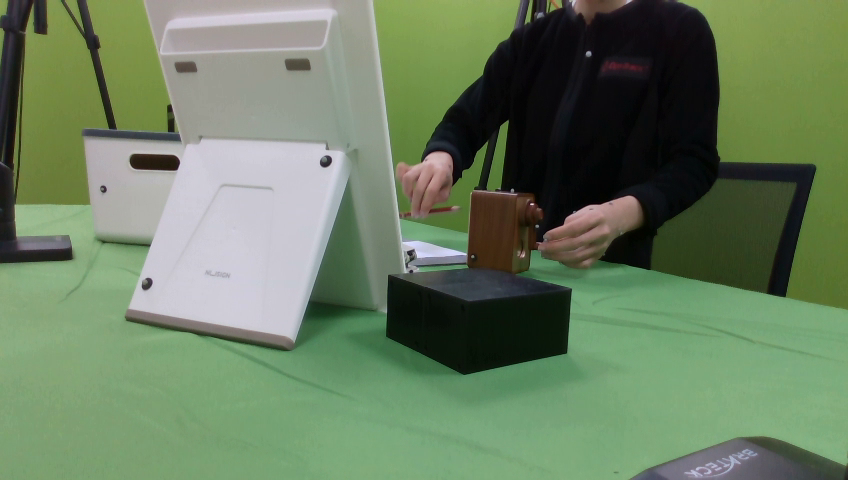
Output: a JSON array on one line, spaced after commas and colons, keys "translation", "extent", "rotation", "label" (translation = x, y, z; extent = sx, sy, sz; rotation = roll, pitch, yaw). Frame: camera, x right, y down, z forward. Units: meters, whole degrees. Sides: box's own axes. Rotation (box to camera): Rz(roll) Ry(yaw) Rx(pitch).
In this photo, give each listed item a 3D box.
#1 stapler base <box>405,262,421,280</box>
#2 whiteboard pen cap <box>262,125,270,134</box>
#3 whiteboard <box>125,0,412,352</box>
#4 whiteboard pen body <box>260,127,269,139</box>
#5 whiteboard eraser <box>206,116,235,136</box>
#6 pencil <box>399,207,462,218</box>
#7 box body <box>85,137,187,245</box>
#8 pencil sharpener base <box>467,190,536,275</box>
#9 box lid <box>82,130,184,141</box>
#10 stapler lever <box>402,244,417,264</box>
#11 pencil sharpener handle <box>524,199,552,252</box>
[{"translation": [-0.069, 0.027, 0.759], "extent": [0.130, 0.024, 0.041], "rotation": [9, 14, 23], "label": "stapler base"}, {"translation": [-0.349, -0.244, 1.336], "extent": [0.018, 0.018, 0.033], "rotation": [0, 2, -17], "label": "whiteboard pen cap"}, {"translation": [-0.151, -0.049, 0.472], "extent": [0.216, 0.305, 0.144], "rotation": [6, 27, 24], "label": "whiteboard"}, {"translation": [-0.366, -0.247, 1.392], "extent": [0.017, 0.017, 0.140], "rotation": [0, 3, -17], "label": "whiteboard pen body"}, {"translation": [-0.450, -0.252, 1.335], "extent": [0.056, 0.042, 0.112], "rotation": [1, 7, -22], "label": "whiteboard eraser"}, {"translation": [-0.007, -0.039, 0.900], "extent": [0.012, 0.012, 0.193], "rotation": [-4, 0, -39], "label": "pencil"}, {"translation": [-0.340, -0.088, 1.022], "extent": [0.254, 0.160, 0.364], "rotation": [4, 7, 11], "label": "box body"}, {"translation": [0.106, -0.011, 0.808], "extent": [0.076, 0.107, 0.061], "rotation": [8, 8, 33], "label": "pencil sharpener base"}, {"translation": [-0.337, -0.161, 1.011], "extent": [0.263, 0.015, 0.372], "rotation": [4, 6, 11], "label": "box lid"}, {"translation": [-0.066, 0.003, 0.755], "extent": [0.117, 0.040, 0.027], "rotation": [9, 13, 23], "label": "stapler lever"}, {"translation": [0.150, -0.018, 0.780], "extent": [0.030, 0.067, 0.036], "rotation": [8, 15, 33], "label": "pencil sharpener handle"}]
